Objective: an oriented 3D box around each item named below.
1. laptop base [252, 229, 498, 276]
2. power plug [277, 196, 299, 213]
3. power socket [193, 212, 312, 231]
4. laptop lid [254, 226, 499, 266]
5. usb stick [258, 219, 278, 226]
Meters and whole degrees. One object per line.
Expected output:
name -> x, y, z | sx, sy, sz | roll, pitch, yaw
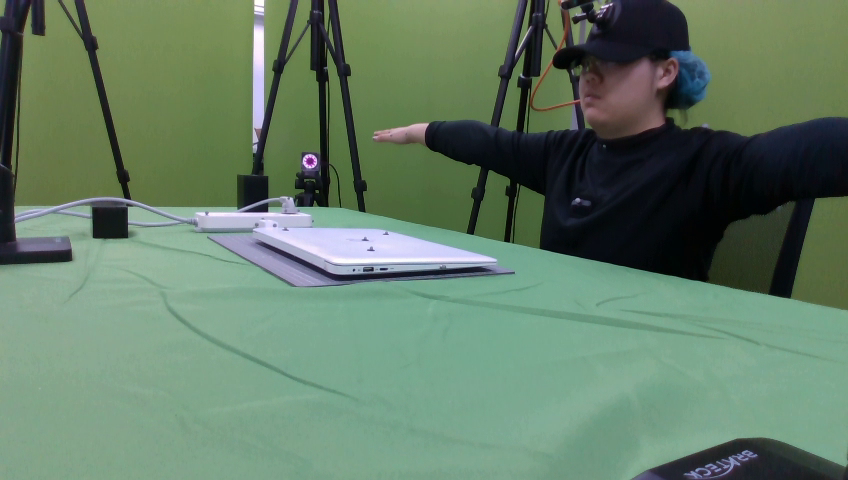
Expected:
laptop base -> -0.089, 0.016, 0.876 | 0.237, 0.023, 0.352 | 2, 6, -32
power plug -> -0.274, -0.062, 1.217 | 0.035, 0.052, 0.072 | 0, 5, -21
power socket -> -0.322, -0.037, 1.153 | 0.228, 0.032, 0.072 | -2, 7, -33
laptop lid -> -0.086, 0.004, 0.876 | 0.243, 0.013, 0.355 | 1, 7, -30
usb stick -> -0.255, -0.019, 0.996 | 0.021, 0.027, 0.059 | -2, 12, -29
